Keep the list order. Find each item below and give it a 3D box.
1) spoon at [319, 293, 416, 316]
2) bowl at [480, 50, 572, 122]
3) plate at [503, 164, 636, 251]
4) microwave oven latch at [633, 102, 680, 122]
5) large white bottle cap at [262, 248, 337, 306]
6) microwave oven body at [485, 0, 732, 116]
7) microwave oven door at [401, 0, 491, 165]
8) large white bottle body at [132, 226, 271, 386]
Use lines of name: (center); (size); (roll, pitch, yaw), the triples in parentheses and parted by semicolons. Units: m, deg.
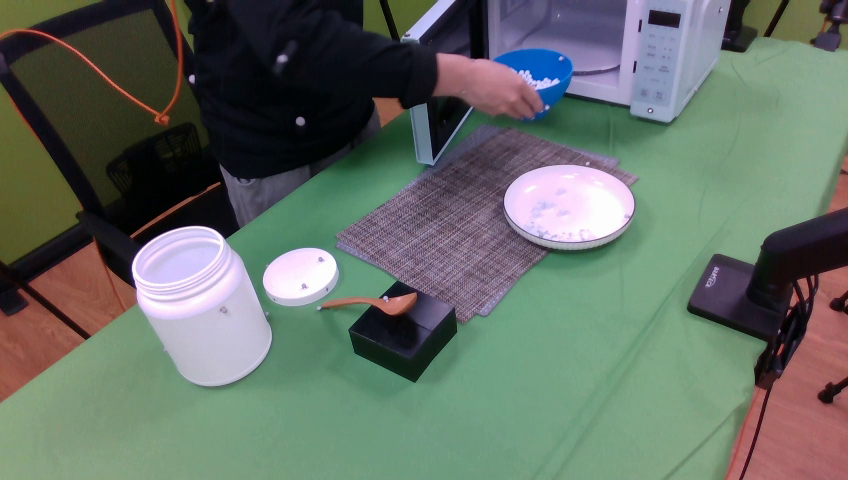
spoon: (-0.082, 0.086, 0.826); (0.192, 0.022, 0.041); (-3, 36, 41)
bowl: (0.174, -0.254, 1.031); (0.151, 0.077, 0.150); (-5, 42, 5)
plate: (0.231, -0.050, 0.976); (0.209, 0.038, 0.208); (-3, 41, 3)
microwave oven latch: (0.444, -0.250, 1.157); (0.078, 0.029, 0.030); (22, 49, 31)
large white bottle cap: (-0.193, 0.056, 0.934); (0.115, 0.018, 0.114); (-4, 41, 4)
microwave oven body: (0.377, -0.462, 1.267); (0.438, 0.261, 0.327); (21, 48, 30)
microwave oven door: (0.056, -0.344, 1.167); (0.039, 0.245, 0.356); (11, 44, 21)
large white bottle body: (-0.286, 0.085, 0.784); (0.130, 0.185, 0.130); (-4, 41, 4)
